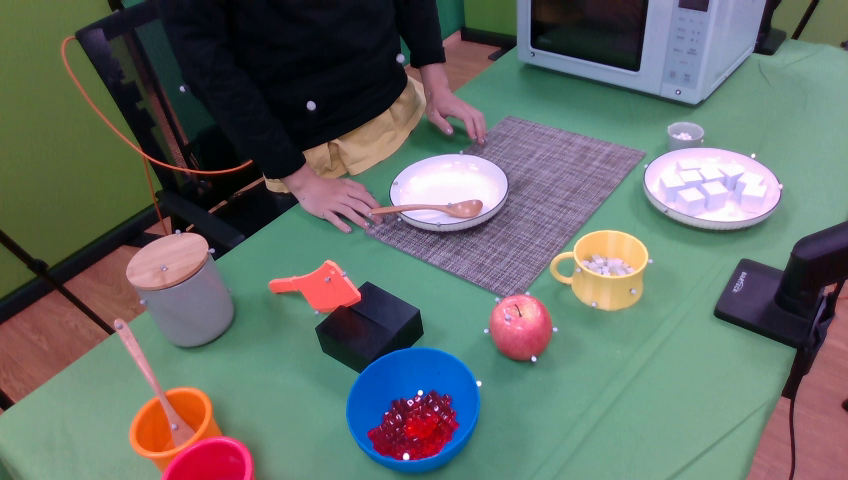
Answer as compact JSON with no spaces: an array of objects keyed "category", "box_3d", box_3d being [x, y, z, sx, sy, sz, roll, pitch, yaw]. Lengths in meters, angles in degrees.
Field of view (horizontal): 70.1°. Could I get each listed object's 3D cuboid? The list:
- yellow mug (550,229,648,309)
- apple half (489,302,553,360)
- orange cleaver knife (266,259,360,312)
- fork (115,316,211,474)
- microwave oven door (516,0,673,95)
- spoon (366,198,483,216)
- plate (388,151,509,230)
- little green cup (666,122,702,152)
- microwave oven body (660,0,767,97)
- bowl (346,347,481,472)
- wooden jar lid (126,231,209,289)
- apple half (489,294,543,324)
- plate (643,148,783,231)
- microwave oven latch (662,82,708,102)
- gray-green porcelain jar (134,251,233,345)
[{"category":"yellow mug","box_3d":[0.245,0.040,0.856,0.130,0.064,0.099,1,42,11]},{"category":"apple half","box_3d":[0.127,0.123,0.771,0.081,0.075,0.053,-8,44,-6]},{"category":"orange cleaver knife","box_3d":[-0.161,0.070,0.859,0.210,0.077,0.012,-13,22,49]},{"category":"fork","box_3d":[-0.308,0.179,0.708,0.028,0.018,0.207,-30,89,-23]},{"category":"microwave oven door","box_3d":[0.344,-0.458,1.256,0.353,0.245,0.039,26,51,33]},{"category":"spoon","box_3d":[0.002,-0.055,0.996,0.194,0.022,0.041,-1,45,-10]},{"category":"plate","box_3d":[0.044,-0.082,1.042,0.209,0.038,0.208,-4,40,4]},{"category":"little green cup","box_3d":[0.471,-0.184,1.102,0.061,0.039,0.061,-5,41,5]},{"category":"microwave oven body","box_3d":[0.473,-0.516,1.314,0.438,0.261,0.327,26,51,34]},{"category":"bowl","box_3d":[-0.008,0.205,0.691,0.151,0.077,0.150,-4,40,4]},{"category":"wooden jar lid","box_3d":[-0.340,0.030,0.808,0.108,0.021,0.108,-5,39,5]},{"category":"apple half","box_3d":[0.120,0.098,0.800,0.081,0.081,0.032,-10,44,-4]},{"category":"plate","box_3d":[0.464,-0.080,0.986,0.207,0.039,0.206,-4,41,4]},{"category":"microwave oven latch","box_3d":[0.517,-0.298,1.202,0.078,0.029,0.030,27,52,34]},{"category":"gray-green porcelain jar","box_3d":[-0.334,0.076,0.849,0.106,0.127,0.105,-4,41,4]}]
